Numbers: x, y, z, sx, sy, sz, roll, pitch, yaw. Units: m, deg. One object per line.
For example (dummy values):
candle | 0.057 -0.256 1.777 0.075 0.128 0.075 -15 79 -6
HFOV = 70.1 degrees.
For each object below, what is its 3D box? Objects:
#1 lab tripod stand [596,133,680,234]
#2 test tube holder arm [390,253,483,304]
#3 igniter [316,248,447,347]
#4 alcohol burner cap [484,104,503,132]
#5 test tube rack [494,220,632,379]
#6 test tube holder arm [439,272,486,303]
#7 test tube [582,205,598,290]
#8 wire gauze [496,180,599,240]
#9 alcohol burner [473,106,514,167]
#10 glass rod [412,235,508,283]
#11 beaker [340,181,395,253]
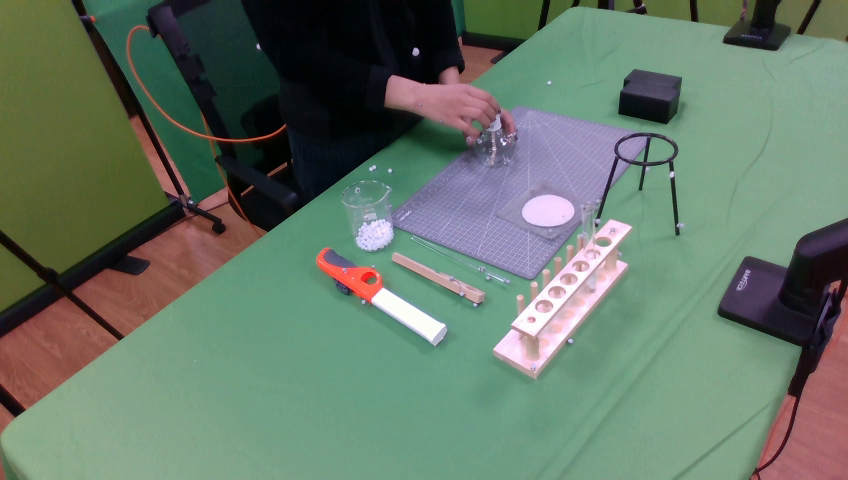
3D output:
lab tripod stand | 0.338 -0.091 0.940 0.148 0.132 0.147 -7 39 6
test tube holder arm | 0.016 0.055 0.916 0.177 0.015 0.013 24 16 33
igniter | -0.074 0.078 0.901 0.274 0.025 0.057 29 64 36
alcohol burner cap | 0.124 -0.223 1.092 0.034 0.048 0.033 -6 45 7
test tube rack | 0.191 0.068 0.818 0.066 0.085 0.243 25 51 35
test tube holder arm | 0.053 0.070 0.896 0.087 0.015 0.010 24 16 34
test tube | 0.220 0.014 0.798 0.017 0.151 0.017 -9 43 9
wire gauze | 0.206 -0.050 1.012 0.125 0.011 0.120 -34 45 -26
alcohol burner | 0.128 -0.196 1.116 0.078 0.119 0.077 -4 40 4
glass rod | 0.051 0.028 0.952 0.198 0.008 0.008 25 51 37
beaker | -0.086 -0.037 0.985 0.084 0.101 0.073 -18 41 -11
